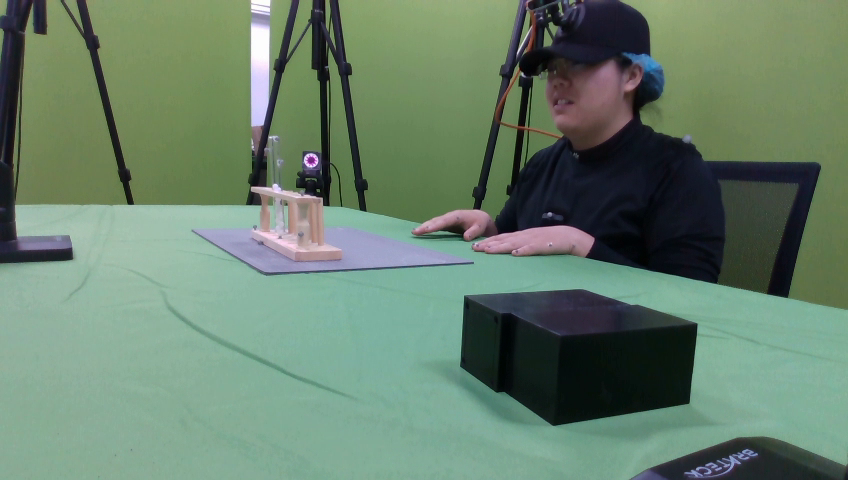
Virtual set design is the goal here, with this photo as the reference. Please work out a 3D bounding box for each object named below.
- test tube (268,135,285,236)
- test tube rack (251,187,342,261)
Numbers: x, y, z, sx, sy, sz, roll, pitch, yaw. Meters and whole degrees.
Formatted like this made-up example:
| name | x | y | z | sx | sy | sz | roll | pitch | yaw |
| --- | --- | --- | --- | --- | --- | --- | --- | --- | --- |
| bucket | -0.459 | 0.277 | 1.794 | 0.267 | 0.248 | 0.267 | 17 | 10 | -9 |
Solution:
| name | x | y | z | sx | sy | sz | roll | pitch | yaw |
| --- | --- | --- | --- | --- | --- | --- | --- | --- | --- |
| test tube | -0.219 | -0.081 | 0.902 | 0.017 | 0.150 | 0.017 | -2 | 6 | 1 |
| test tube rack | -0.196 | -0.030 | 0.902 | 0.067 | 0.085 | 0.241 | -2 | 8 | -29 |
